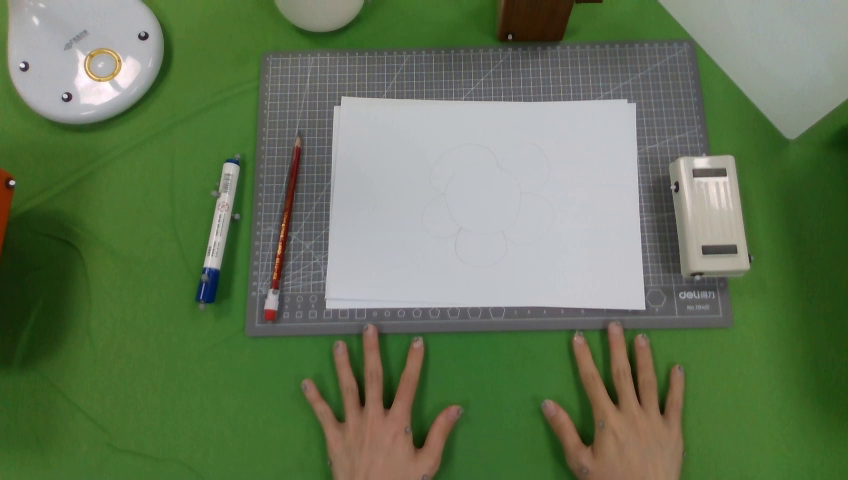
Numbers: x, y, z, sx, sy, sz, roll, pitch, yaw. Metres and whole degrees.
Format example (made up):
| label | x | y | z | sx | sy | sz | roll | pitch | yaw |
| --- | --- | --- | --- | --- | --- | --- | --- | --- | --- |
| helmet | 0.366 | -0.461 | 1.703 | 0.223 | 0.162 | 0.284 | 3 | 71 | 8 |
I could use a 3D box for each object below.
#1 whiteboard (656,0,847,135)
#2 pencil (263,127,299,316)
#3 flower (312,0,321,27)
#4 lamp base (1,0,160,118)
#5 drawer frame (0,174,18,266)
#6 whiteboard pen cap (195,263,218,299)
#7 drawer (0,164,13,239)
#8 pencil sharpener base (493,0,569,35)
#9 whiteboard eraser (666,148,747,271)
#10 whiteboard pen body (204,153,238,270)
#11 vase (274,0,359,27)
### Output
| label | x | y | z | sx | sy | sz | roll | pitch | yaw |
| --- | --- | --- | --- | --- | --- | --- | --- | --- | --- |
| whiteboard | 0.383 | -0.281 | 0.517 | 0.144 | 0.307 | 0.216 | -29 | 75 | -25 |
| pencil | -0.137 | -0.022 | 0.589 | 0.012 | 0.012 | 0.193 | 5 | 75 | 4 |
| flower | -0.114 | -0.326 | 0.484 | 0.038 | 0.365 | 0.043 | -15 | 57 | -9 |
| lamp base | -0.370 | -0.228 | 0.562 | 0.178 | 0.181 | 0.160 | 31 | 78 | 12 |
| drawer frame | -0.490 | 0.020 | 0.512 | 0.213 | 0.083 | 0.200 | 1 | 77 | 0 |
| whiteboard pen cap | -0.203 | 0.038 | 0.567 | 0.018 | 0.018 | 0.033 | 3 | 70 | 3 |
| drawer | -0.484 | 0.019 | 0.510 | 0.212 | 0.073 | 0.193 | 1 | 77 | 2 |
| pencil sharpener base | 0.109 | -0.255 | 0.590 | 0.077 | 0.107 | 0.061 | 1 | 75 | 2 |
| whiteboard eraser | 0.259 | -0.028 | 0.560 | 0.055 | 0.042 | 0.112 | -1 | 76 | 0 |
| whiteboard pen body | -0.197 | -0.018 | 0.585 | 0.017 | 0.017 | 0.140 | 3 | 73 | 3 |
| vase | -0.117 | -0.288 | 0.559 | 0.098 | 0.201 | 0.097 | -1 | 75 | 4 |
